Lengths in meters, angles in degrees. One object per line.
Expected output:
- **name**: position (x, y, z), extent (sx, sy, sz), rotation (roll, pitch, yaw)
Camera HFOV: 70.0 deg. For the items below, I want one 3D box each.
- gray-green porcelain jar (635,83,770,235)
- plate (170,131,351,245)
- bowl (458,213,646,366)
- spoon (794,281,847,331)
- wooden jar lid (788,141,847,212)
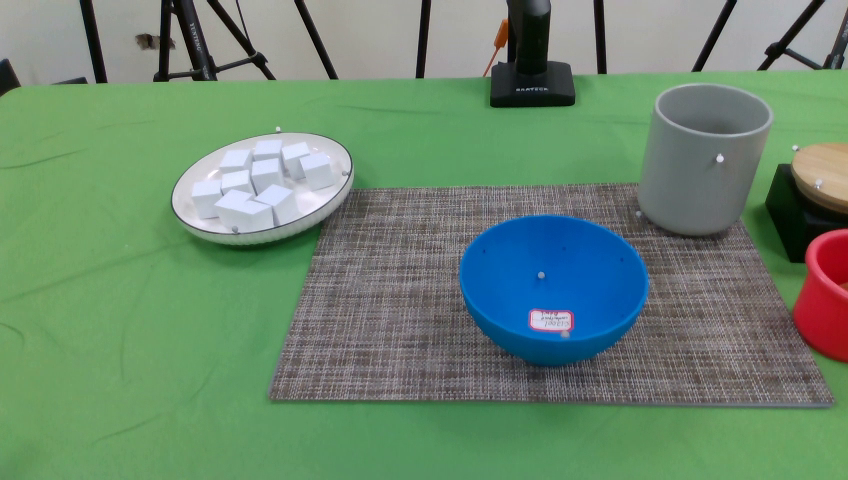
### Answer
- **gray-green porcelain jar**: position (0.273, -0.077, 0.610), extent (0.106, 0.128, 0.105), rotation (-3, 41, 3)
- **plate**: position (-0.186, -0.060, 0.709), extent (0.209, 0.038, 0.207), rotation (-4, 40, 3)
- **bowl**: position (0.104, 0.053, 0.512), extent (0.151, 0.077, 0.150), rotation (-3, 40, 3)
- **spoon**: position (0.391, 0.013, 0.484), extent (0.022, 0.194, 0.041), rotation (34, 27, -25)
- **wooden jar lid**: position (0.411, -0.060, 0.587), extent (0.108, 0.021, 0.107), rotation (-3, 40, 3)
